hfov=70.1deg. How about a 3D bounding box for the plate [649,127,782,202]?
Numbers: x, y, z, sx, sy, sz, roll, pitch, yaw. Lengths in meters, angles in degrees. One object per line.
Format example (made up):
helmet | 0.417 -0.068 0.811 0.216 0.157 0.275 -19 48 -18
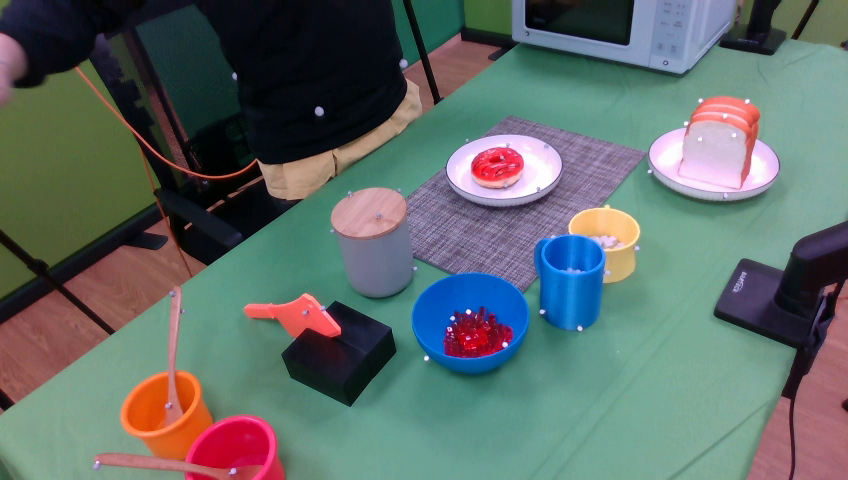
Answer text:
plate | 0.493 -0.127 1.036 0.207 0.039 0.206 -4 41 4

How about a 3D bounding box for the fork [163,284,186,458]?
fork | -0.302 0.157 0.733 0.028 0.019 0.207 -3 84 15

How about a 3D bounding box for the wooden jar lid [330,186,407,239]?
wooden jar lid | -0.077 -0.035 0.846 0.108 0.021 0.108 -5 41 5

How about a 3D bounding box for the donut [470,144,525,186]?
donut | 0.129 -0.134 1.073 0.099 0.048 0.098 -6 41 6

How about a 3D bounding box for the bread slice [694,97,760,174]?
bread slice | 0.497 -0.173 1.004 0.106 0.135 0.018 23 51 26

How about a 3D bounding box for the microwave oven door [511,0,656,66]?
microwave oven door | 0.351 -0.539 1.349 0.353 0.245 0.039 24 50 31

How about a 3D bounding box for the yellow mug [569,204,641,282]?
yellow mug | 0.268 -0.005 0.904 0.099 0.064 0.130 7 41 15

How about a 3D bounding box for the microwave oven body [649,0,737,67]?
microwave oven body | 0.475 -0.602 1.411 0.438 0.261 0.327 23 50 32

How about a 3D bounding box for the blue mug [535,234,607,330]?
blue mug | 0.191 0.048 0.824 0.082 0.106 0.115 -26 44 -20

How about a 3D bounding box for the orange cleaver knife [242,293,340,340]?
orange cleaver knife | -0.186 0.107 0.827 0.210 0.077 0.012 -9 29 48

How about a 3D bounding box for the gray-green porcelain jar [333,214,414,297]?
gray-green porcelain jar | -0.071 0.012 0.887 0.106 0.127 0.105 -4 41 4

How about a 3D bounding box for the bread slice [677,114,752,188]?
bread slice | 0.467 -0.144 0.976 0.104 0.132 0.019 18 55 30

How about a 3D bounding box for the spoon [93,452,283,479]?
spoon | -0.240 0.239 0.632 0.195 0.021 0.041 26 31 -32

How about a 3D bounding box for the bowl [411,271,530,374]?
bowl | 0.062 0.120 0.780 0.151 0.077 0.150 -4 40 4

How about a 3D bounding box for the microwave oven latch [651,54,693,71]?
microwave oven latch | 0.532 -0.386 1.301 0.078 0.029 0.030 27 52 34

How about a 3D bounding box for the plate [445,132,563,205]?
plate | 0.141 -0.123 1.076 0.209 0.038 0.208 -4 41 4
